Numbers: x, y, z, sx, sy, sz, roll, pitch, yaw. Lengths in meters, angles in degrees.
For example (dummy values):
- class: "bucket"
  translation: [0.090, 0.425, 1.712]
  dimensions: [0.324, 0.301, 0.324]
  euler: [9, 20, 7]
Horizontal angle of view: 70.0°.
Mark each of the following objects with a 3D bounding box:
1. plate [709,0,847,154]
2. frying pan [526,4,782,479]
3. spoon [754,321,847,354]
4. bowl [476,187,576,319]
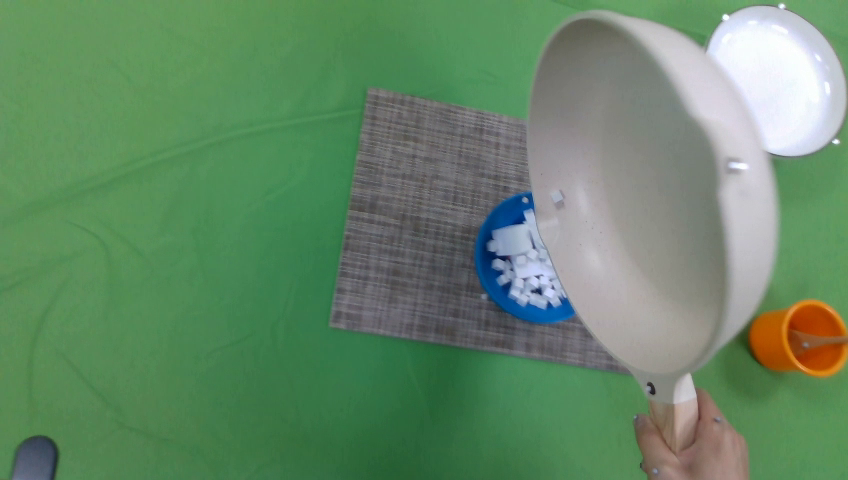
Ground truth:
- class: "plate"
  translation: [0.454, -0.208, 0.787]
  dimensions: [0.208, 0.039, 0.207]
  euler: [2, 81, -9]
- class: "frying pan"
  translation: [0.185, 0.061, 0.489]
  dimensions: [0.103, 0.306, 0.486]
  euler: [-5, 86, -10]
- class: "spoon"
  translation: [0.507, 0.112, 0.729]
  dimensions: [0.022, 0.193, 0.041]
  euler: [8, 74, -54]
- class: "bowl"
  translation: [0.126, 0.020, 0.709]
  dimensions: [0.152, 0.077, 0.150]
  euler: [2, 79, -9]
